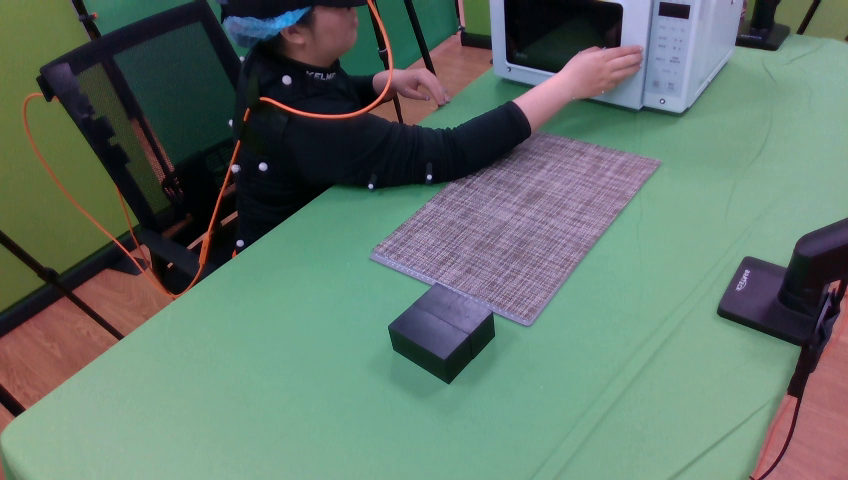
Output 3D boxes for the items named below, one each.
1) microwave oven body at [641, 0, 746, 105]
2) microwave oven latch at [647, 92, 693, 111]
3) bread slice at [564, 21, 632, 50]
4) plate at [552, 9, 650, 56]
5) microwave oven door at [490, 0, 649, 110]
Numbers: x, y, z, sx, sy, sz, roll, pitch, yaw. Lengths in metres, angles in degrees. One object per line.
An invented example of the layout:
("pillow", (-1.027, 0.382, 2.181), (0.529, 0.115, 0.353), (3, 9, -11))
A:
("microwave oven body", (0.416, -0.486, 1.290), (0.438, 0.261, 0.327), (21, 50, 33))
("microwave oven latch", (0.477, -0.273, 1.177), (0.078, 0.029, 0.030), (23, 51, 34))
("bread slice", (0.394, -0.455, 1.344), (0.105, 0.019, 0.130), (-35, 44, -26))
("plate", (0.390, -0.456, 1.339), (0.209, 0.038, 0.208), (-6, 39, 5))
("microwave oven door", (0.287, -0.415, 1.223), (0.353, 0.245, 0.039), (24, 51, 34))
